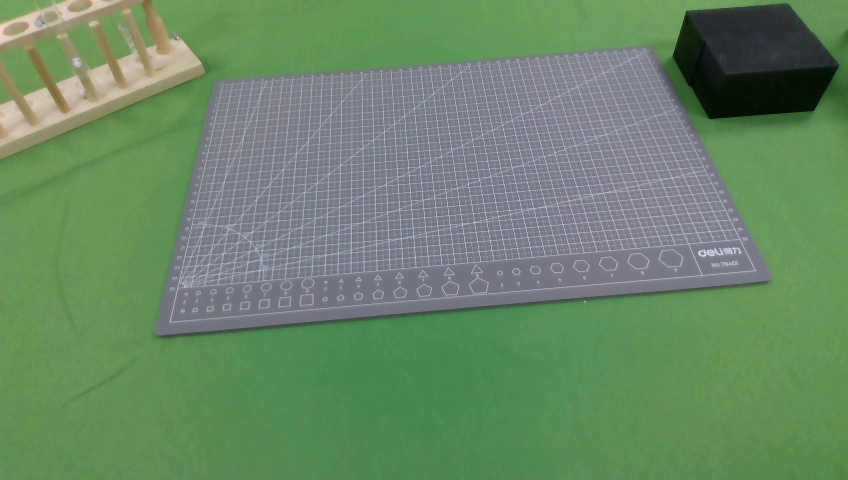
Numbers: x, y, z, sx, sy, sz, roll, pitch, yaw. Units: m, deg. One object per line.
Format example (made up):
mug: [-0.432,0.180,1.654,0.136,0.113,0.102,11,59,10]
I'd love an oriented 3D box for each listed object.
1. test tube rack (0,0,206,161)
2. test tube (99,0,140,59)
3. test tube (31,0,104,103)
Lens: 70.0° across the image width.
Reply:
test tube rack: [-0.346,-0.161,0.576,0.242,0.086,0.066,-31,56,-20]
test tube: [-0.302,-0.235,0.569,0.017,0.152,0.017,-4,52,6]
test tube: [-0.324,-0.186,0.537,0.017,0.152,0.017,-1,51,2]
